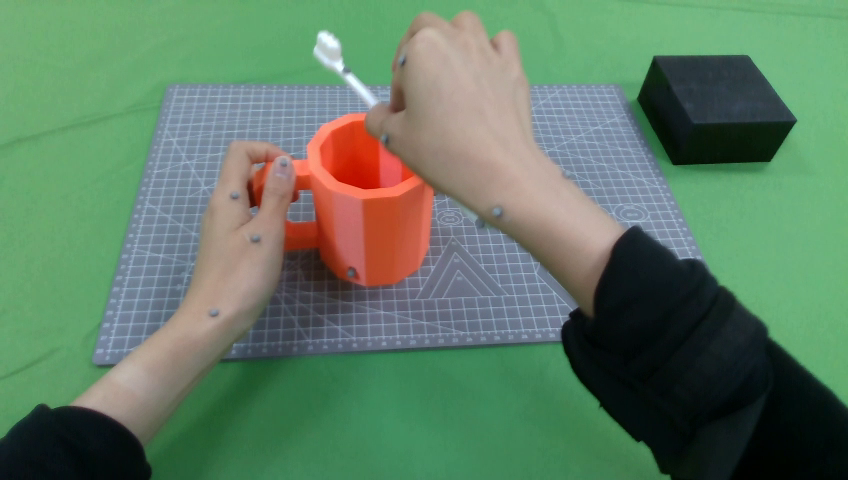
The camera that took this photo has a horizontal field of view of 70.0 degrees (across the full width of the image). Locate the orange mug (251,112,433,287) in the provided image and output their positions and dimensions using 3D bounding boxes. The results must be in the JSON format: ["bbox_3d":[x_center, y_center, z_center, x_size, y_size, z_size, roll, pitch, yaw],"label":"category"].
[{"bbox_3d":[-0.056,-0.027,0.434,0.126,0.101,0.082,-3,51,-13],"label":"orange mug"}]

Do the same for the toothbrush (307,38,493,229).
[{"bbox_3d":[-0.019,-0.070,0.370,0.014,0.017,0.180,-22,59,-38],"label":"toothbrush"}]
